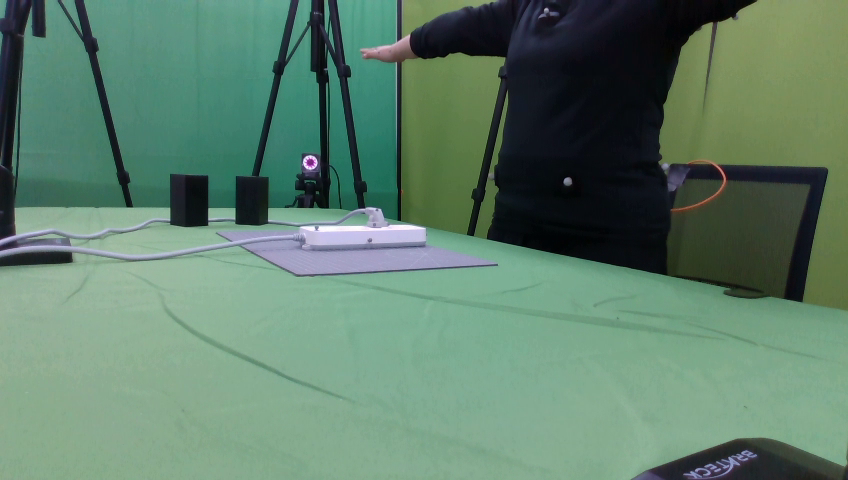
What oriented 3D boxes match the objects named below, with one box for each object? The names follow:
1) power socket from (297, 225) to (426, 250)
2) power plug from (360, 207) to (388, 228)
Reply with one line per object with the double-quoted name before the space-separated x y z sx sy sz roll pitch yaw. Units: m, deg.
"power socket" -0.099 -0.006 0.992 0.228 0.032 0.072 -2 8 -31
"power plug" -0.085 -0.029 1.032 0.035 0.052 0.072 1 5 -20
